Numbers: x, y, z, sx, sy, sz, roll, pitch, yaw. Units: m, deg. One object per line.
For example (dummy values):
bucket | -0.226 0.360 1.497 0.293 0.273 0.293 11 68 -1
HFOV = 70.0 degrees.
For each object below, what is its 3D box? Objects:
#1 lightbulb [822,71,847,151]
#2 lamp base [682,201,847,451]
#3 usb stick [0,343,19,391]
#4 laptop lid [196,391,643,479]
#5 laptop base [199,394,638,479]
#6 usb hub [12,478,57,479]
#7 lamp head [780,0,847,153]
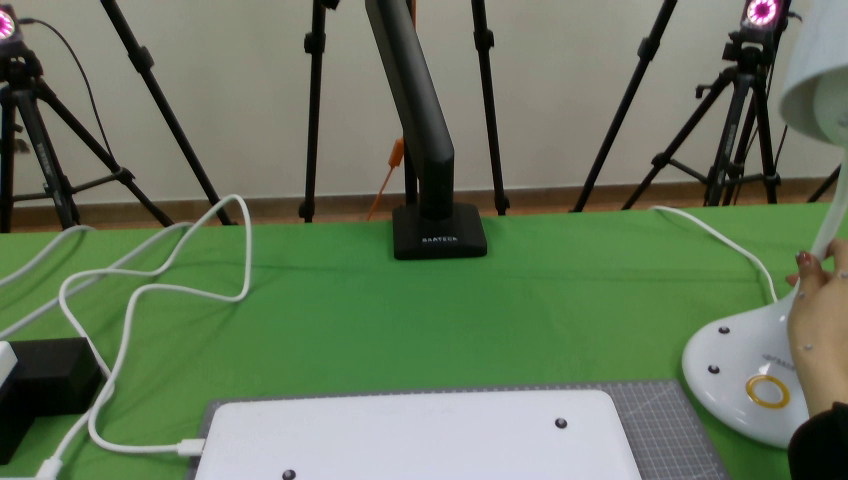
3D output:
lightbulb | 0.262 -0.095 0.325 0.059 0.108 0.059 28 6 -3
lamp base | 0.336 0.064 0.545 0.159 0.181 0.179 16 35 23
usb stick | -0.372 0.117 0.515 0.021 0.027 0.058 0 35 -5
laptop lid | -0.003 0.209 0.450 0.357 0.013 0.239 -1 35 -1
laptop base | -0.003 0.218 0.459 0.354 0.023 0.233 -1 36 -2
usb hub | -0.312 0.231 0.433 0.049 0.025 0.124 -2 33 -1
lamp head | 0.270 -0.118 0.336 0.112 0.113 0.122 13 76 20
